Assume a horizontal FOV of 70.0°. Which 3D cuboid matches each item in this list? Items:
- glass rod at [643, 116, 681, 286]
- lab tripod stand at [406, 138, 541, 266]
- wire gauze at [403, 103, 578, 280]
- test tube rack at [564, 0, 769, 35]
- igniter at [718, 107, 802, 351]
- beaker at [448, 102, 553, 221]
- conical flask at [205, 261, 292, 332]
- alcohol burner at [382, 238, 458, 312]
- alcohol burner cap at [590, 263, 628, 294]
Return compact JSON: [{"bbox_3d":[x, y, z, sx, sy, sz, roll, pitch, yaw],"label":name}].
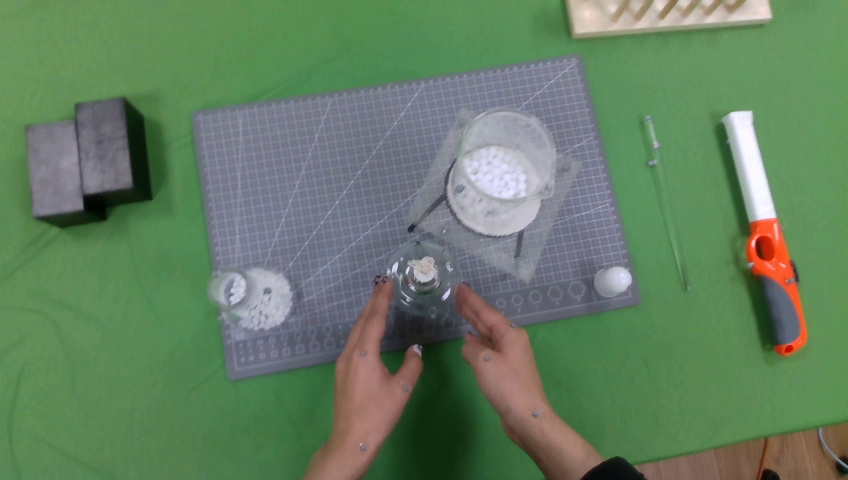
[{"bbox_3d":[0.270,-0.046,0.688,0.008,0.008,0.199,-8,84,-5],"label":"glass rod"},{"bbox_3d":[0.055,-0.036,0.608,0.148,0.132,0.148,0,82,-2],"label":"lab tripod stand"},{"bbox_3d":[0.061,-0.046,0.543,0.125,0.011,0.121,27,83,0],"label":"wire gauze"},{"bbox_3d":[0.291,-0.296,0.691,0.242,0.085,0.066,-6,80,-4],"label":"test tube rack"},{"bbox_3d":[0.377,-0.016,0.680,0.057,0.025,0.275,-6,81,-15],"label":"igniter"},{"bbox_3d":[0.059,-0.056,0.496,0.084,0.100,0.074,40,81,4],"label":"beaker"},{"bbox_3d":[-0.174,0.050,0.585,0.075,0.122,0.075,1,80,-3],"label":"conical flask"},{"bbox_3d":[-0.004,0.033,0.603,0.078,0.119,0.077,0,80,-1],"label":"alcohol burner"},{"bbox_3d":[0.201,0.039,0.650,0.034,0.048,0.033,1,79,-3],"label":"alcohol burner cap"}]
